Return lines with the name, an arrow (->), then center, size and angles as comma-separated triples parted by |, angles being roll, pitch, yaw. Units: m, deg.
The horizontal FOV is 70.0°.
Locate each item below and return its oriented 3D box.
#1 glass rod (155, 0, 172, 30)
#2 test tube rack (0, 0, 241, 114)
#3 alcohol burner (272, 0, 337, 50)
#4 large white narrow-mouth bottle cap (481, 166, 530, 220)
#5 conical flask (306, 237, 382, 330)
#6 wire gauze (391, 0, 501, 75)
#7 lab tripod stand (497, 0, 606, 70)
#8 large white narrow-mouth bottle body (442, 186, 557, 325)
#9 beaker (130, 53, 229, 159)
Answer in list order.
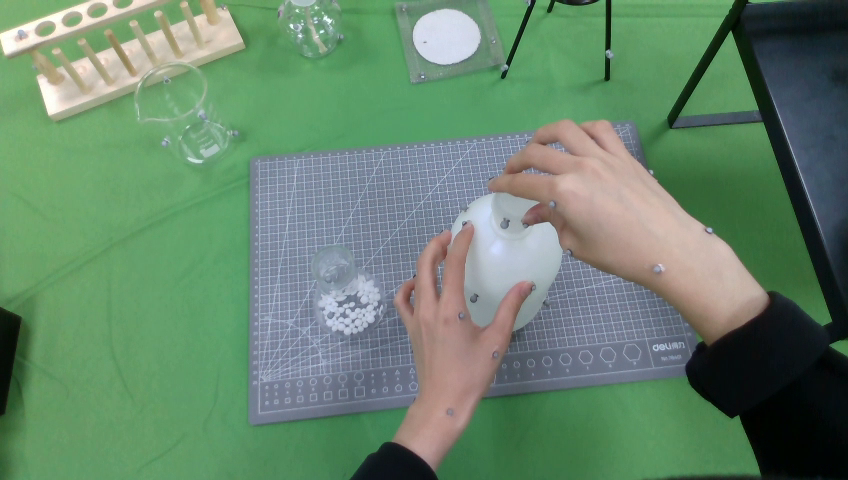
glass rod -> -0.308, -0.304, 0.664 | 0.008, 0.201, 0.008 | 2, 65, -4
test tube rack -> -0.352, -0.242, 0.710 | 0.242, 0.086, 0.066 | -25, 70, -10
alcohol burner -> -0.143, -0.283, 0.712 | 0.078, 0.120, 0.077 | 0, 66, 0
large white narrow-mouth bottle cap -> 0.060, -0.034, 0.452 | 0.038, 0.024, 0.037 | -1, 68, 3
conical flask -> -0.082, 0.036, 0.575 | 0.075, 0.122, 0.075 | 0, 68, 1
wire gauze -> 0.026, -0.269, 0.762 | 0.121, 0.011, 0.124 | -10, 68, -5
lab tripod stand -> 0.157, -0.267, 0.693 | 0.148, 0.132, 0.147 | 1, 67, -1
large white narrow-mouth bottle body -> 0.067, 0.007, 0.549 | 0.102, 0.196, 0.101 | -1, 67, 3
beaker -> -0.264, -0.139, 0.661 | 0.073, 0.101, 0.084 | 39, 73, 15
